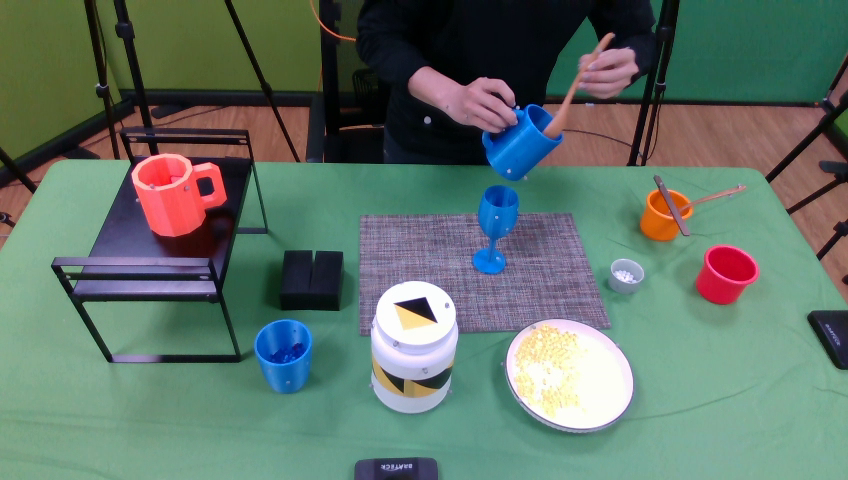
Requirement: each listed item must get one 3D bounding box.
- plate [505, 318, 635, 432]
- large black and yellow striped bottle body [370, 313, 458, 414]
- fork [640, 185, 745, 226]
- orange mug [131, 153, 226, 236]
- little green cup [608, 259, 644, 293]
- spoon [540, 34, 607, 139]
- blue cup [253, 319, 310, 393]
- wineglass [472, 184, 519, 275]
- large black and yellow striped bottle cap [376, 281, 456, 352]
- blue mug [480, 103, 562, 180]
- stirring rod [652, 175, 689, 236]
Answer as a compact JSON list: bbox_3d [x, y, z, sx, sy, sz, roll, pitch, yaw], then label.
[{"bbox_3d":[0.235,0.221,0.991,0.209,0.038,0.208,2,45,-2],"label":"plate"},{"bbox_3d":[-0.017,0.165,0.924,0.131,0.185,0.130,2,46,-2],"label":"large black and yellow striped bottle body"},{"bbox_3d":[0.534,-0.069,1.215,0.207,0.019,0.028,-26,27,33],"label":"fork"},{"bbox_3d":[-0.375,-0.075,0.937,0.126,0.101,0.083,-20,50,-16],"label":"orange mug"},{"bbox_3d":[0.379,0.070,1.147,0.061,0.039,0.061,3,45,-2],"label":"little green cup"},{"bbox_3d":[0.229,-0.233,0.952,0.042,0.194,0.021,1,34,-42],"label":"spoon"},{"bbox_3d":[-0.217,0.187,0.943,0.093,0.101,0.092,4,45,-3],"label":"blue cup"},{"bbox_3d":[0.129,-0.018,1.113,0.074,0.173,0.073,2,46,-2],"label":"wineglass"},{"bbox_3d":[-0.011,0.107,0.863,0.115,0.019,0.114,2,47,-2],"label":"large black and yellow striped bottle cap"},{"bbox_3d":[0.152,-0.171,1.010,0.117,0.106,0.082,28,43,-21],"label":"blue mug"},{"bbox_3d":[0.491,-0.072,1.211,0.014,0.006,0.175,-1,47,-6],"label":"stirring rod"}]
